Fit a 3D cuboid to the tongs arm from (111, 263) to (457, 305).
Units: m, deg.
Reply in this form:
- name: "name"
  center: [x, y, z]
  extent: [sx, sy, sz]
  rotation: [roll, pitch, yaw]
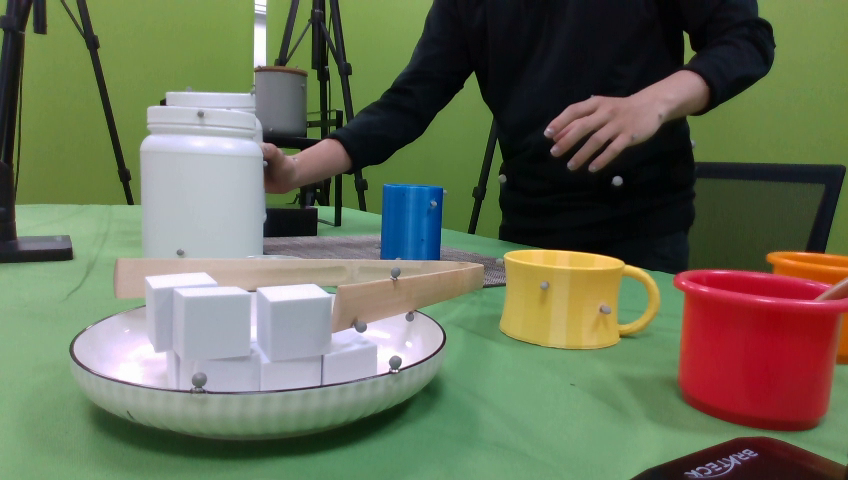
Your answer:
- name: "tongs arm"
  center: [-0.080, 0.033, 0.527]
  extent: [0.028, 0.027, 0.389]
  rotation: [-4, -4, 33]

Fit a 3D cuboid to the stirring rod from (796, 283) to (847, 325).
- name: "stirring rod"
  center: [0.347, 0.019, 0.460]
  extent: [0.014, 0.176, 0.006]
  rotation: [-17, 59, -26]

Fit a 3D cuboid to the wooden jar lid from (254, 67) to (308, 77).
- name: "wooden jar lid"
  center: [-0.296, -0.339, 1.251]
  extent: [0.108, 0.020, 0.108]
  rotation: [2, 7, 0]

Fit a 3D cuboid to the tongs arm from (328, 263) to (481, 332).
- name: "tongs arm"
  center: [-0.003, 0.036, 0.492]
  extent: [0.050, 0.026, 0.386]
  rotation: [1, -1, 19]

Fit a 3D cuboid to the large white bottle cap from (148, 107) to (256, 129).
- name: "large white bottle cap"
  center: [-0.250, -0.137, 0.686]
  extent: [0.115, 0.018, 0.115]
  rotation: [3, 8, 0]

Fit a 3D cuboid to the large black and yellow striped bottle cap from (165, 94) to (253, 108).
- name: "large black and yellow striped bottle cap"
  center: [-0.294, -0.190, 0.830]
  extent: [0.115, 0.019, 0.115]
  rotation: [1, 12, 0]

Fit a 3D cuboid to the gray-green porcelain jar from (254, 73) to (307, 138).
- name: "gray-green porcelain jar"
  center: [-0.298, -0.277, 1.259]
  extent: [0.106, 0.126, 0.106]
  rotation: [3, 7, 0]

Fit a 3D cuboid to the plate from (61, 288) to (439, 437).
- name: "plate"
  center: [-0.095, 0.069, 0.362]
  extent: [0.208, 0.039, 0.207]
  rotation: [3, 7, 0]

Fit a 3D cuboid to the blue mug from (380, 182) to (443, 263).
- name: "blue mug"
  center: [-0.019, -0.026, 0.833]
  extent: [0.082, 0.106, 0.116]
  rotation: [1, 7, -6]

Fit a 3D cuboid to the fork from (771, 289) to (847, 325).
- name: "fork"
  center: [0.335, 0.018, 0.443]
  extent: [0.028, 0.018, 0.207]
  rotation: [-1, -36, -20]

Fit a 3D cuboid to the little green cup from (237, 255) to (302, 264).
- name: "little green cup"
  center: [-0.150, 0.038, 0.590]
  extent: [0.061, 0.038, 0.061]
  rotation: [3, 6, 0]

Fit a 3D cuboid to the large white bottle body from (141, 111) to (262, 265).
- name: "large white bottle body"
  center: [-0.254, -0.053, 0.697]
  extent: [0.131, 0.184, 0.130]
  rotation: [2, 7, 0]

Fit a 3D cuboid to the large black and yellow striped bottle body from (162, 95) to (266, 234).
- name: "large black and yellow striped bottle body"
  center: [-0.294, -0.109, 0.851]
  extent: [0.131, 0.184, 0.130]
  rotation: [1, 14, 0]

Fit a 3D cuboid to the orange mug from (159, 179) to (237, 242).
- name: "orange mug"
  center: [-0.368, -0.051, 0.991]
  extent: [0.127, 0.101, 0.083]
  rotation: [-10, 14, -41]

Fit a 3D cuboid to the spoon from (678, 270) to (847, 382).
- name: "spoon"
  center: [0.229, 0.031, 0.338]
  extent: [0.193, 0.021, 0.042]
  rotation: [-44, -16, 27]

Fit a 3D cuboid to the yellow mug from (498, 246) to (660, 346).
- name: "yellow mug"
  center: [0.130, 0.045, 0.508]
  extent: [0.131, 0.064, 0.100]
  rotation: [4, 7, 6]
